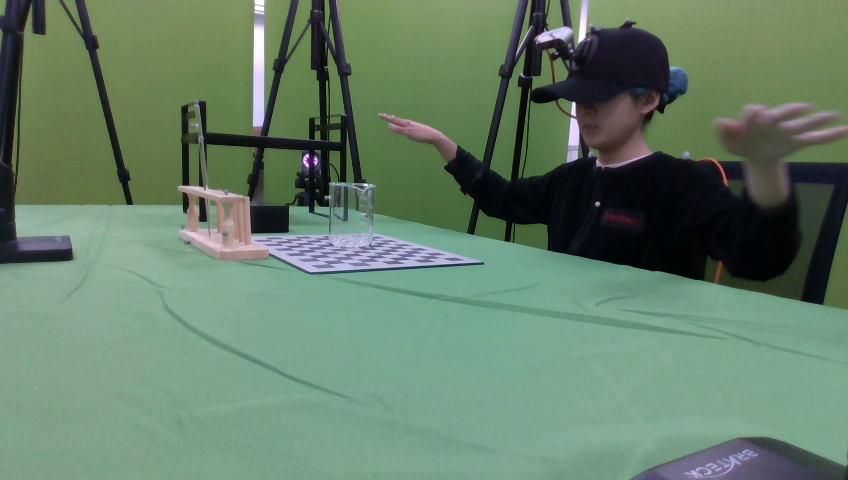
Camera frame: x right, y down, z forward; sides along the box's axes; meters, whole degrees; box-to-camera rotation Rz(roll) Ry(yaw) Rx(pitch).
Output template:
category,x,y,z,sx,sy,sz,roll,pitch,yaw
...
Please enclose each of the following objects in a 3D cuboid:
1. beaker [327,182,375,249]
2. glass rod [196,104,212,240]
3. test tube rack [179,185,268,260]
category,x,y,z,sx,sy,sz,roll,pitch,yaw
beaker,-0.114,-0.039,0.950,0.074,0.100,0.083,-2,9,-31
glass rod,-0.317,-0.095,0.871,0.008,0.199,0.008,-4,4,1
test tube rack,-0.303,-0.031,0.898,0.067,0.085,0.241,-2,9,-33
